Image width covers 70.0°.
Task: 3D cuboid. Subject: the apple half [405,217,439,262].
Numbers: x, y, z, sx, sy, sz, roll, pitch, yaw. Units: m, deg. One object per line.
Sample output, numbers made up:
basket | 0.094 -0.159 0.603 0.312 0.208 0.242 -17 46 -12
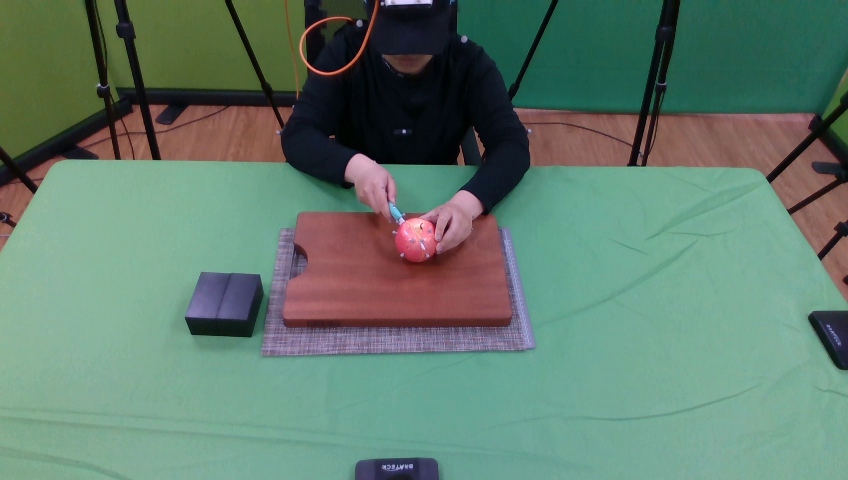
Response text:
apple half | -0.001 -0.003 1.126 0.053 0.075 0.080 -18 46 -25

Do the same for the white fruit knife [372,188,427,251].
white fruit knife | -0.047 -0.041 1.135 0.016 0.027 0.206 -19 45 -24

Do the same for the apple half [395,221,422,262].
apple half | -0.035 0.010 1.111 0.033 0.081 0.081 -20 50 -24
